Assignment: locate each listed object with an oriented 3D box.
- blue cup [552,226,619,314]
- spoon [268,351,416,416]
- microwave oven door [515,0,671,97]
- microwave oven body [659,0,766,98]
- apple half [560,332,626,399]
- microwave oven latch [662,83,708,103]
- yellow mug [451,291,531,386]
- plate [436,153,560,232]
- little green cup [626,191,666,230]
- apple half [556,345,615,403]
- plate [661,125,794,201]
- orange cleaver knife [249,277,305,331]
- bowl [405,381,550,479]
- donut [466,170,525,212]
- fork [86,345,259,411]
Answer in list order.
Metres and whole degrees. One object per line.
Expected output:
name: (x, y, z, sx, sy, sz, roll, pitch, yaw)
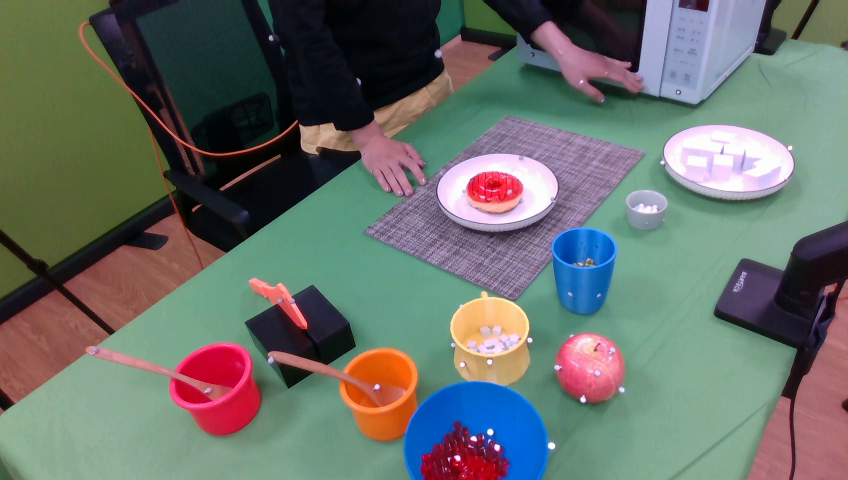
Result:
blue cup: (0.219, 0.047, 0.826, 0.092, 0.101, 0.092, -6, 40, 5)
spoon: (-0.090, 0.162, 0.699, 0.021, 0.195, 0.041, -45, 30, 27)
microwave oven door: (0.342, -0.453, 1.258, 0.353, 0.245, 0.039, 27, 51, 34)
microwave oven body: (0.473, -0.513, 1.317, 0.438, 0.261, 0.327, 26, 51, 34)
apple half: (0.209, 0.147, 0.730, 0.080, 0.075, 0.053, 27, 48, 38)
microwave oven latch: (0.518, -0.296, 1.204, 0.078, 0.029, 0.030, 27, 52, 35)
yellow mug: (0.085, 0.120, 0.786, 0.100, 0.064, 0.130, -6, 39, 1)
plate: (0.125, -0.078, 1.029, 0.209, 0.038, 0.208, -4, 40, 4)
little green cup: (0.352, -0.046, 0.963, 0.061, 0.039, 0.061, -4, 40, 4)
apple half: (0.182, 0.166, 0.709, 0.080, 0.081, 0.033, 29, 50, 35)
plate: (0.514, -0.128, 1.035, 0.207, 0.039, 0.206, -4, 40, 4)
orange cleaver knife: (-0.210, 0.088, 0.855, 0.012, 0.077, 0.210, -28, 15, -25)
bowl: (0.058, 0.235, 0.645, 0.151, 0.077, 0.150, -4, 39, 4)
donut: (0.121, -0.084, 1.019, 0.099, 0.048, 0.098, -4, 38, 4)
fork: (-0.298, 0.166, 0.728, 0.209, 0.018, 0.028, 28, 46, -23)
